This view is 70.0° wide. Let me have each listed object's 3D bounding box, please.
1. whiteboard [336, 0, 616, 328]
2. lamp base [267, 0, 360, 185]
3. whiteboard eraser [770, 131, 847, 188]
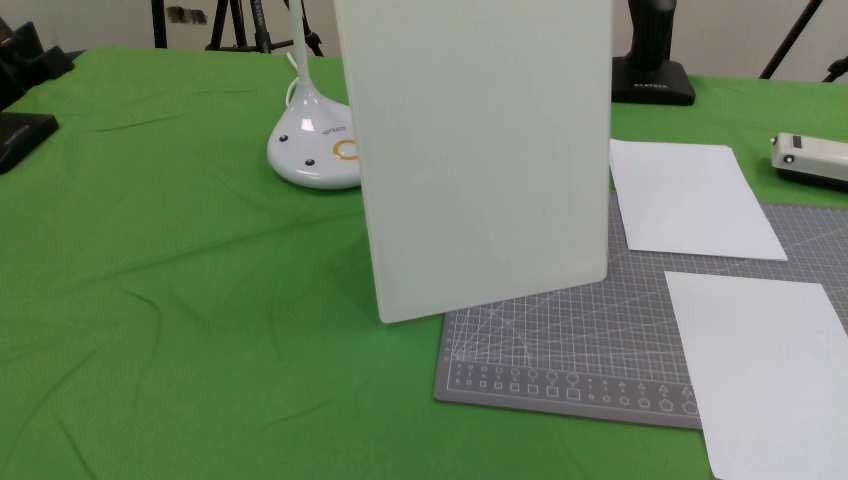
[{"bbox_3d":[0.038,-0.107,0.547,0.217,0.307,0.142,-10,22,-10],"label":"whiteboard"},{"bbox_3d":[-0.115,-0.180,0.684,0.161,0.182,0.177,-29,46,-30],"label":"lamp base"},{"bbox_3d":[0.456,-0.089,0.688,0.112,0.042,0.055,16,44,17],"label":"whiteboard eraser"}]
